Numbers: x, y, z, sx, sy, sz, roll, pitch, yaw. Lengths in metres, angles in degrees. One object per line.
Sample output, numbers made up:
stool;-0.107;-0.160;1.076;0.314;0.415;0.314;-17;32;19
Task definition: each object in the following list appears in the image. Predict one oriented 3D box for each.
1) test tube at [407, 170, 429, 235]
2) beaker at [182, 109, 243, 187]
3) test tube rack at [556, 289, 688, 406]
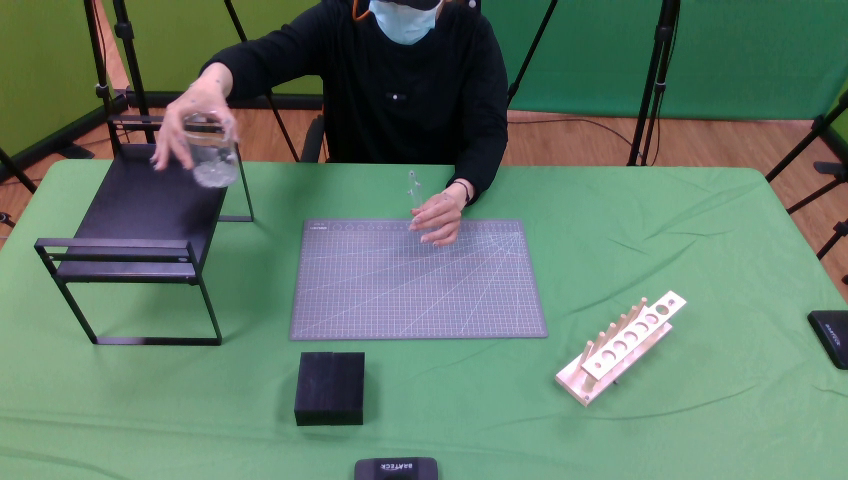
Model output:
test tube;-0.010;-0.064;1.087;0.017;0.151;0.017;-6;46;7
beaker;-0.317;-0.137;0.927;0.083;0.101;0.074;33;50;25
test tube rack;0.332;0.166;1.014;0.242;0.085;0.066;-30;55;-28
